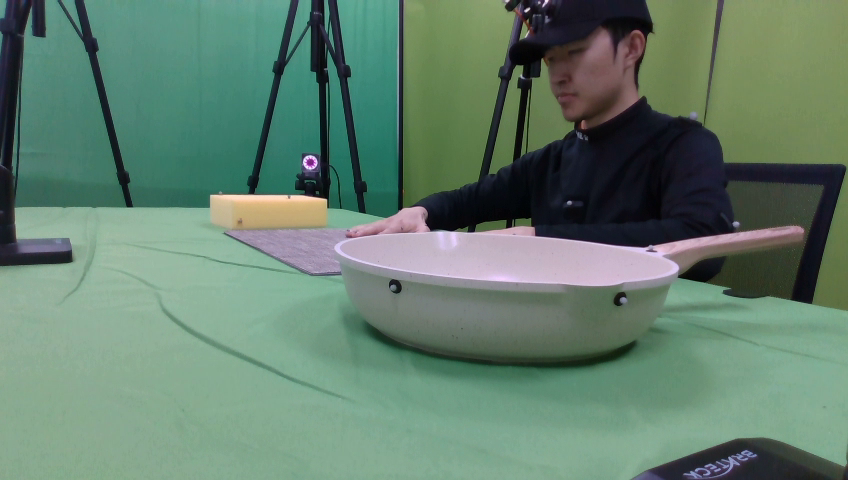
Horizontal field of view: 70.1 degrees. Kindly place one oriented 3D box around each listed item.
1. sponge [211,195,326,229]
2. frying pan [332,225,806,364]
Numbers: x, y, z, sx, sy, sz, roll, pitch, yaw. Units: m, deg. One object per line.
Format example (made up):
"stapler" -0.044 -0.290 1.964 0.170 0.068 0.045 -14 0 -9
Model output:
"sponge" -0.320 -0.060 1.254 0.208 0.061 0.117 -3 8 -39
"frying pan" 0.165 0.024 0.562 0.490 0.102 0.305 -8 11 -16
